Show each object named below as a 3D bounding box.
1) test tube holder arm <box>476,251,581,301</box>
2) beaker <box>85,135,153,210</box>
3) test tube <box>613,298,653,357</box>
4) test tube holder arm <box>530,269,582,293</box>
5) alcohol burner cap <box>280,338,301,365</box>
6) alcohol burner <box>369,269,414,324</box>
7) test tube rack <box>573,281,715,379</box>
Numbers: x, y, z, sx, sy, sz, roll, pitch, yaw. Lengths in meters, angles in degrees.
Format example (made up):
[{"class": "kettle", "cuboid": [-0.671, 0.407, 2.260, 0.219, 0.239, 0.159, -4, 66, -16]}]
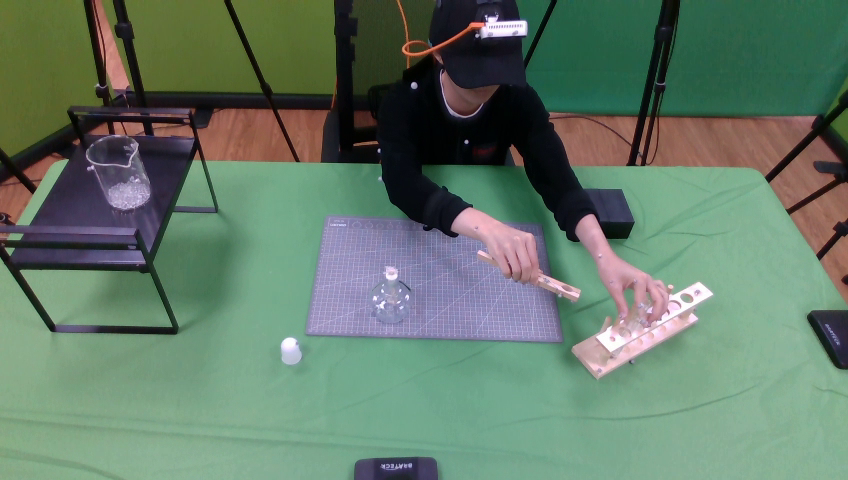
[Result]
[{"class": "test tube holder arm", "cuboid": [0.168, 0.057, 0.985, 0.178, 0.015, 0.013, 22, 49, 11]}, {"class": "beaker", "cuboid": [-0.475, -0.102, 0.957, 0.083, 0.101, 0.074, 34, 53, 26]}, {"class": "test tube", "cuboid": [0.329, 0.142, 0.963, 0.017, 0.151, 0.017, 4, 47, -4]}, {"class": "test tube holder arm", "cuboid": [0.212, 0.070, 0.980, 0.087, 0.015, 0.010, 22, 49, 11]}, {"class": "alcohol burner cap", "cuboid": [-0.220, 0.179, 0.993, 0.034, 0.048, 0.033, 3, 46, -2]}, {"class": "alcohol burner", "cuboid": [-0.056, 0.089, 1.037, 0.078, 0.120, 0.077, 1, 48, -1]}, {"class": "test tube rack", "cuboid": [0.378, 0.140, 1.038, 0.242, 0.085, 0.066, -22, 51, -23]}]
